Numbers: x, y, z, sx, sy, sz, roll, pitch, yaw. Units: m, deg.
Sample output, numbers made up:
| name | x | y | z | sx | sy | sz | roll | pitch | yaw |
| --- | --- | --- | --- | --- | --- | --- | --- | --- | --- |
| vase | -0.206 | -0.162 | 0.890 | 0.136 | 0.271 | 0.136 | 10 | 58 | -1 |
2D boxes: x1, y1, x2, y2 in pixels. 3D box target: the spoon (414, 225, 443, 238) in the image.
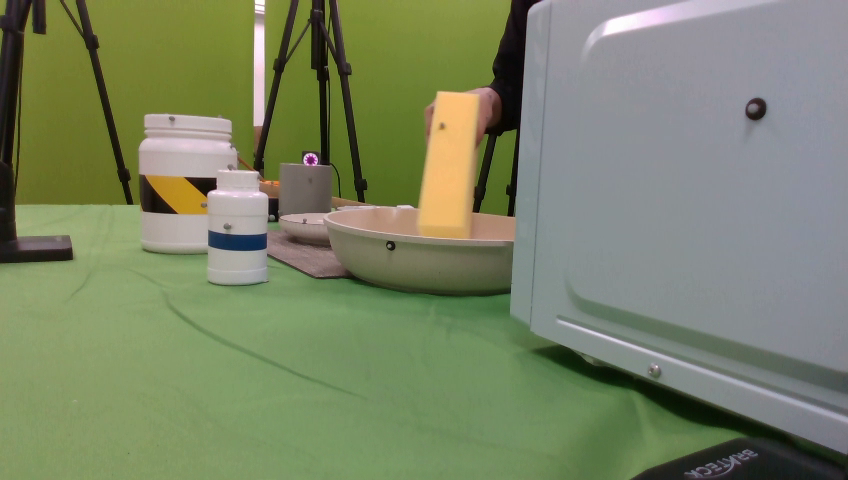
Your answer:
| name | x | y | z | sx | sy | sz | roll | pitch | yaw |
| --- | --- | --- | --- | --- | --- | --- | --- | --- | --- |
| spoon | 0.016 | -0.020 | 1.113 | 0.041 | 0.021 | 0.194 | -14 | 3 | 12 |

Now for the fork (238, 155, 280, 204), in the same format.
| name | x | y | z | sx | sy | sz | roll | pitch | yaw |
| --- | --- | --- | --- | --- | --- | --- | --- | --- | --- |
| fork | -0.396 | -0.143 | 1.486 | 0.028 | 0.018 | 0.208 | 20 | -26 | 45 |

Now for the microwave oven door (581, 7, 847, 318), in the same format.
| name | x | y | z | sx | sy | sz | roll | pitch | yaw |
| --- | --- | --- | --- | --- | --- | --- | --- | --- | --- |
| microwave oven door | 0.295 | -0.067 | 0.569 | 0.358 | 0.243 | 0.039 | -3 | 8 | -31 |

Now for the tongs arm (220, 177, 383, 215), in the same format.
| name | x | y | z | sx | sy | sz | roll | pitch | yaw |
| --- | --- | --- | --- | --- | --- | --- | --- | --- | --- |
| tongs arm | -0.285 | -0.103 | 1.445 | 0.389 | 0.027 | 0.028 | 9 | -4 | -23 |

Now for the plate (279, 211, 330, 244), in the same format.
| name | x | y | z | sx | sy | sz | roll | pitch | yaw |
| --- | --- | --- | --- | --- | --- | --- | --- | --- | --- |
| plate | -0.139 | -0.022 | 1.021 | 0.209 | 0.038 | 0.209 | 2 | 8 | 0 |

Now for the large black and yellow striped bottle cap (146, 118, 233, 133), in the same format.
| name | x | y | z | sx | sy | sz | roll | pitch | yaw |
| --- | --- | --- | --- | --- | --- | --- | --- | --- | --- |
| large black and yellow striped bottle cap | -0.333 | -0.163 | 0.861 | 0.115 | 0.019 | 0.115 | 1 | 9 | 0 |

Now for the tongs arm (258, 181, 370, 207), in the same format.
| name | x | y | z | sx | sy | sz | roll | pitch | yaw |
| --- | --- | --- | --- | --- | --- | --- | --- | --- | --- |
| tongs arm | -0.241 | -0.095 | 1.373 | 0.387 | 0.026 | 0.050 | 9 | -1 | -37 |

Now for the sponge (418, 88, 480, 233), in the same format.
| name | x | y | z | sx | sy | sz | roll | pitch | yaw |
| --- | --- | --- | --- | --- | --- | --- | --- | --- | --- |
| sponge | 0.040 | -0.091 | 0.833 | 0.061 | 0.206 | 0.118 | 4 | -24 | 8 |

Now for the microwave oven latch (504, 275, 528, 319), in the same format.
| name | x | y | z | sx | sy | sz | roll | pitch | yaw |
| --- | --- | --- | --- | --- | --- | --- | --- | --- | --- |
| microwave oven latch | 0.100 | 0.042 | 0.471 | 0.079 | 0.029 | 0.030 | -1 | 7 | -28 |

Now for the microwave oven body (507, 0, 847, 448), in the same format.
| name | x | y | z | sx | sy | sz | roll | pitch | yaw |
| --- | --- | --- | --- | --- | --- | --- | --- | --- | --- |
| microwave oven body | 0.331 | -0.042 | 0.425 | 0.444 | 0.260 | 0.324 | -2 | 8 | -31 |

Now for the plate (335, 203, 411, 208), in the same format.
| name | x | y | z | sx | sy | sz | roll | pitch | yaw |
| --- | --- | --- | --- | --- | --- | --- | --- | --- | --- |
| plate | -0.089 | -0.053 | 1.309 | 0.208 | 0.039 | 0.207 | 2 | 8 | 0 |

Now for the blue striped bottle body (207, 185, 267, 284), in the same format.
| name | x | y | z | sx | sy | sz | roll | pitch | yaw |
| --- | --- | --- | --- | --- | --- | --- | --- | --- | --- |
| blue striped bottle body | -0.204 | -0.016 | 0.663 | 0.063 | 0.120 | 0.063 | 2 | 7 | 0 |

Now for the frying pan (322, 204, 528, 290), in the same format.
| name | x | y | z | sx | sy | sz | roll | pitch | yaw |
| --- | --- | --- | --- | --- | --- | --- | --- | --- | --- |
| frying pan | 0.109 | -0.018 | 0.800 | 0.490 | 0.102 | 0.305 | -12 | 16 | -30 |

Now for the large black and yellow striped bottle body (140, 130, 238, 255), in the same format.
| name | x | y | z | sx | sy | sz | roll | pitch | yaw |
| --- | --- | --- | --- | --- | --- | --- | --- | --- | --- |
| large black and yellow striped bottle body | -0.336 | -0.078 | 0.871 | 0.131 | 0.184 | 0.130 | 2 | 8 | 0 |

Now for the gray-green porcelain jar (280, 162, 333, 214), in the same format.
| name | x | y | z | sx | sy | sz | roll | pitch | yaw |
| --- | --- | --- | --- | --- | --- | --- | --- | --- | --- |
| gray-green porcelain jar | -0.238 | -0.092 | 1.221 | 0.106 | 0.126 | 0.106 | 2 | 7 | 0 |

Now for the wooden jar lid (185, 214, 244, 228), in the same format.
| name | x | y | z | sx | sy | sz | roll | pitch | yaw |
| --- | --- | --- | --- | --- | --- | --- | --- | --- | --- |
| wooden jar lid | -0.404 | -0.037 | 1.169 | 0.108 | 0.020 | 0.108 | 3 | 7 | 0 |

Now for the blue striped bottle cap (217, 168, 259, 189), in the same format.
| name | x | y | z | sx | sy | sz | roll | pitch | yaw |
| --- | --- | --- | --- | --- | --- | --- | --- | --- | --- |
| blue striped bottle cap | -0.202 | -0.067 | 0.656 | 0.044 | 0.020 | 0.044 | 0 | 10 | 0 |
